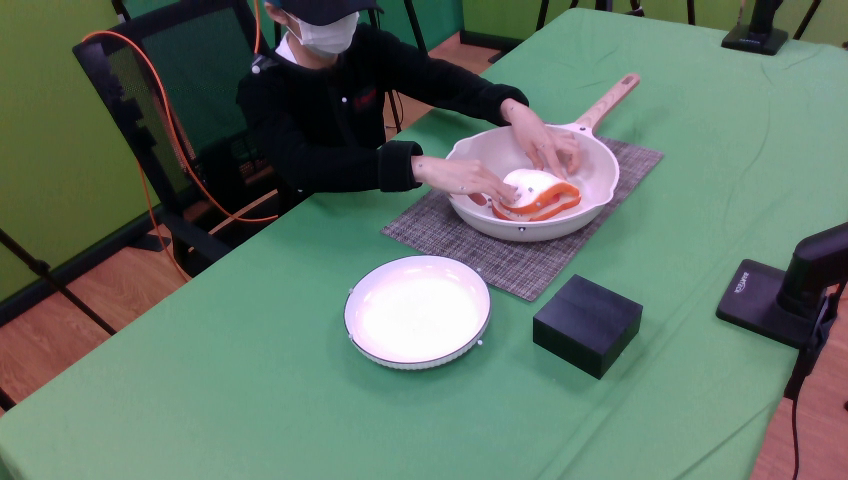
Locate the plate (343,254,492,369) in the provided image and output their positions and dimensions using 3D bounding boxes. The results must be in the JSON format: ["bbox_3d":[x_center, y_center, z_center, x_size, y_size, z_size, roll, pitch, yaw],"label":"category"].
[{"bbox_3d":[-0.008,0.101,0.847,0.207,0.039,0.206,-4,40,4],"label":"plate"}]

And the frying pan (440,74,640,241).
[{"bbox_3d":[0.245,-0.161,1.058,0.304,0.103,0.489,30,61,35],"label":"frying pan"}]

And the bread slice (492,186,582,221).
[{"bbox_3d":[0.184,-0.063,1.018,0.135,0.018,0.106,-25,42,-25],"label":"bread slice"}]

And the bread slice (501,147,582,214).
[{"bbox_3d":[0.184,-0.099,0.987,0.131,0.019,0.104,-52,31,-10],"label":"bread slice"}]
